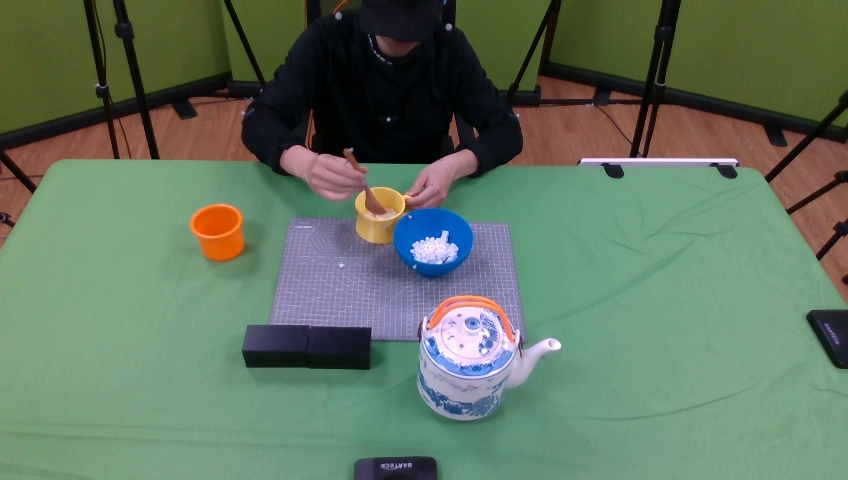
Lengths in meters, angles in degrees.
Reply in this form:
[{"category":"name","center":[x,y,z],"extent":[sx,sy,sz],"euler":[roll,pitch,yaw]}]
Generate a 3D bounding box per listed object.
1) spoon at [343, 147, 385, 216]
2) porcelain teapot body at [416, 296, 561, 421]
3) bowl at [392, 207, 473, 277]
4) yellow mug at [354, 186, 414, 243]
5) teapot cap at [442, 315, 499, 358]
[{"category":"spoon","center":[-0.112,-0.102,1.096],"extent":[0.041,0.195,0.021],"euler":[8,55,21]},{"category":"porcelain teapot body","center":[0.094,0.164,0.907],"extent":[0.205,0.226,0.144],"euler":[6,45,1]},{"category":"bowl","center":[0.014,0.016,1.140],"extent":[0.151,0.077,0.150],"euler":[2,46,-2]},{"category":"yellow mug","center":[-0.076,-0.057,1.212],"extent":[0.131,0.064,0.099],"euler":[-23,52,-25]},{"category":"teapot cap","center":[0.068,0.133,0.880],"extent":[0.085,0.044,0.084],"euler":[4,45,-4]}]
